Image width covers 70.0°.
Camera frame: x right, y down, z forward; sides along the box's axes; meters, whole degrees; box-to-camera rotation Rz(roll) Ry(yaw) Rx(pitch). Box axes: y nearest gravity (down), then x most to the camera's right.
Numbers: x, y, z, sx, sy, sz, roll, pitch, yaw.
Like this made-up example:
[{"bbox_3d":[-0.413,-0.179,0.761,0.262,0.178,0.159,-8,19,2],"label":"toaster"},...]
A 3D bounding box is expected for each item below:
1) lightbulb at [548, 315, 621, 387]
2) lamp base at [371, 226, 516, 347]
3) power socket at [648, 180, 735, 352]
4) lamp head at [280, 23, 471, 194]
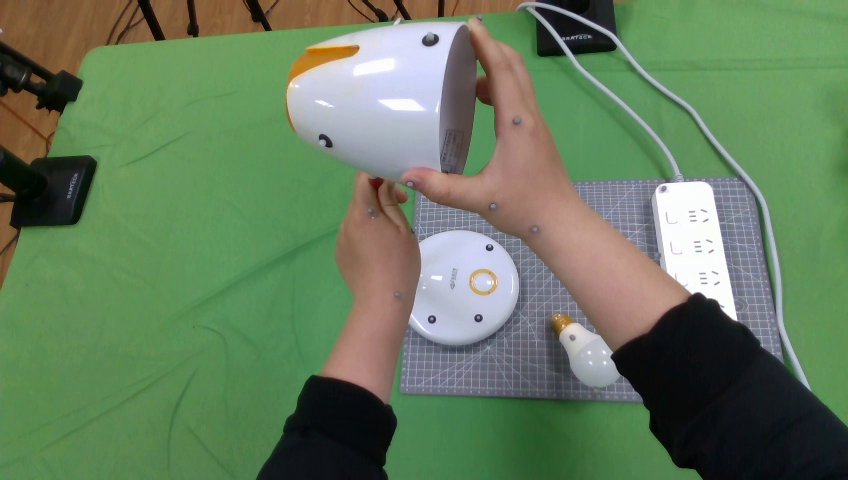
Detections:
[{"bbox_3d":[0.185,0.127,0.717,0.059,0.060,0.106,-35,48,-7],"label":"lightbulb"},{"bbox_3d":[0.014,0.030,0.719,0.179,0.182,0.159,-7,64,10],"label":"lamp base"},{"bbox_3d":[0.327,0.024,0.750,0.072,0.033,0.225,-2,64,8],"label":"power socket"},{"bbox_3d":[-0.033,-0.090,0.419,0.122,0.113,0.111,5,66,19],"label":"lamp head"}]
